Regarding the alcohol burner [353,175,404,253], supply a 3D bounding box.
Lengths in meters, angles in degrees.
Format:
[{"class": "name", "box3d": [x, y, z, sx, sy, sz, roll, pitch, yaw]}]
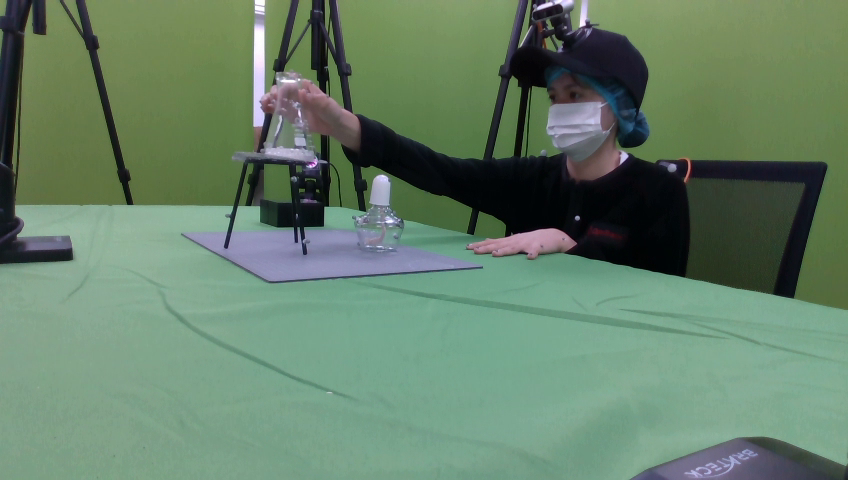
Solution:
[{"class": "alcohol burner", "box3d": [-0.069, -0.040, 0.926, 0.078, 0.119, 0.078, 1, 9, 0]}]

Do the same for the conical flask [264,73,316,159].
[{"class": "conical flask", "box3d": [-0.195, -0.180, 0.884, 0.075, 0.122, 0.075, 2, 9, 0]}]

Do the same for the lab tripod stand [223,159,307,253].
[{"class": "lab tripod stand", "box3d": [-0.220, -0.053, 0.896, 0.148, 0.131, 0.148, 1, 6, 0]}]

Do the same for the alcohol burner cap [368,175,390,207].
[{"class": "alcohol burner cap", "box3d": [-0.067, -0.075, 0.923, 0.034, 0.048, 0.034, 8, 11, -1]}]

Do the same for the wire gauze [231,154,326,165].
[{"class": "wire gauze", "box3d": [-0.215, -0.118, 0.881, 0.125, 0.011, 0.121, 1, 7, -19]}]
